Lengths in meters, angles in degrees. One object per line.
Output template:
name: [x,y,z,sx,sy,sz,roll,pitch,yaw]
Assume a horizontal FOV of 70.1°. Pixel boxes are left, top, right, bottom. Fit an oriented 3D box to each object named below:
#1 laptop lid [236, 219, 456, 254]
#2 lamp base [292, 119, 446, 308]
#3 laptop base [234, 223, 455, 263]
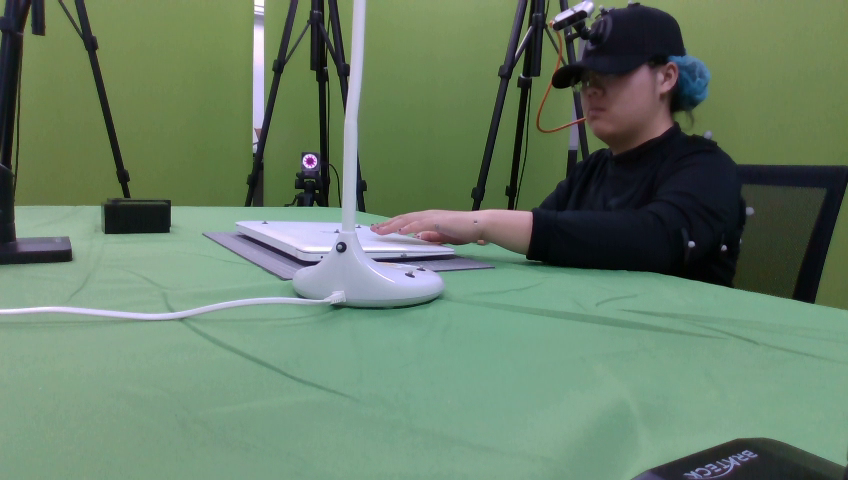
laptop lid: [-0.139,-0.008,0.958,0.243,0.013,0.355,1,7,-30]
lamp base: [-0.056,-0.030,0.616,0.160,0.180,0.179,3,10,8]
laptop base: [-0.142,0.003,0.959,0.237,0.023,0.352,2,6,-32]
